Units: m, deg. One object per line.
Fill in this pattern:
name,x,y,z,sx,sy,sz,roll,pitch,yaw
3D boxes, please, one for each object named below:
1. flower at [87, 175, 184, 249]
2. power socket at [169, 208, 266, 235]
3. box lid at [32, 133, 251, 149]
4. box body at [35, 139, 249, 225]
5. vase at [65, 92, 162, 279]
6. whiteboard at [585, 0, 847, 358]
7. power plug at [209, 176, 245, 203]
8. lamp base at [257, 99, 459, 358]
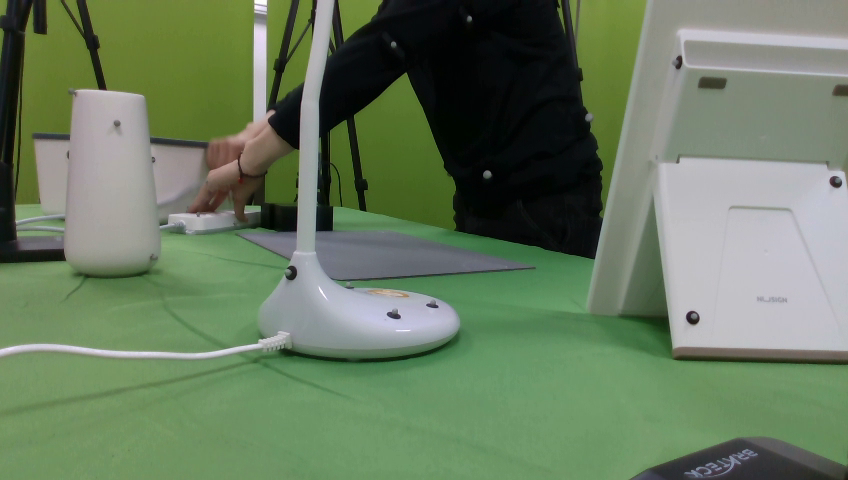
flower,-0.610,-0.063,1.291,0.044,0.038,0.361,-5,25,9
power socket,-0.379,-0.038,1.130,0.072,0.032,0.227,4,8,18
box lid,-0.558,-0.200,1.250,0.263,0.015,0.372,5,8,13
box body,-0.561,-0.127,1.258,0.254,0.160,0.365,4,8,13
vase,-0.347,-0.060,0.673,0.098,0.200,0.098,1,7,0
whiteboard,0.269,-0.034,0.466,0.217,0.305,0.143,2,27,-1
power plug,-0.388,-0.099,1.198,0.072,0.052,0.035,3,4,30
lamp base,-0.055,-0.013,0.463,0.160,0.180,0.180,6,11,27
